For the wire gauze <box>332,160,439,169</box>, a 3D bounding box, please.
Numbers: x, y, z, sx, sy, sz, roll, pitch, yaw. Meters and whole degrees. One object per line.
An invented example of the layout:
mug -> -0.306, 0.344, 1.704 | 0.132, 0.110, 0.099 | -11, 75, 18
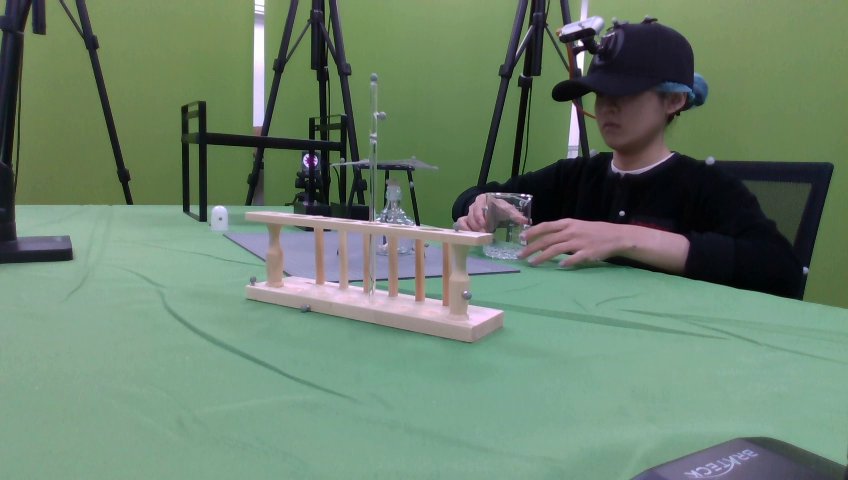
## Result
wire gauze -> -0.054, -0.111, 0.884 | 0.121, 0.011, 0.125 | 4, 7, 18

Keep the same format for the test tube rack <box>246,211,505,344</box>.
test tube rack -> -0.049, 0.025, 0.547 | 0.241, 0.085, 0.067 | 7, 8, 29

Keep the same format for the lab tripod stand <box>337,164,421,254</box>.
lab tripod stand -> -0.061, -0.046, 0.894 | 0.148, 0.131, 0.148 | 1, 6, 0

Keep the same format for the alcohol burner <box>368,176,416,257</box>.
alcohol burner -> -0.046, -0.035, 0.896 | 0.078, 0.119, 0.078 | 4, 5, 0

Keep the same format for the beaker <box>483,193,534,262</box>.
beaker -> 0.129, -0.019, 0.924 | 0.074, 0.100, 0.083 | -2, 10, -34

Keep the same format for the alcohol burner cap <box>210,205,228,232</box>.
alcohol burner cap -> -0.376, -0.040, 1.107 | 0.034, 0.048, 0.034 | 2, 7, 0

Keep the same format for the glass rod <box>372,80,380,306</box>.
glass rod -> -0.042, -0.039, 0.530 | 0.008, 0.199, 0.008 | 0, 2, 0
